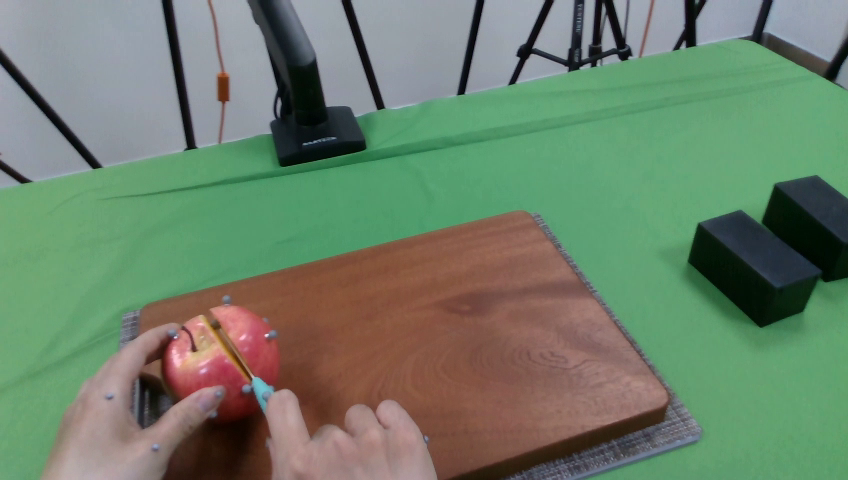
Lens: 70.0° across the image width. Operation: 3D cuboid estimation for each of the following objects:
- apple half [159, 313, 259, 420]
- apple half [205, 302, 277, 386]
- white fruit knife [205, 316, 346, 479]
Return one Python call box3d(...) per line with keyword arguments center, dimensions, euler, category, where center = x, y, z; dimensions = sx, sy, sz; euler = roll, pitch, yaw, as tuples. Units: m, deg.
box3d(center=(-0.166, 0.103, 0.457), dimensions=(0.053, 0.075, 0.080), euler=(-39, 52, -17), category="apple half")
box3d(center=(-0.134, 0.080, 0.473), dimensions=(0.033, 0.082, 0.080), euler=(-33, 47, -22), category="apple half")
box3d(center=(-0.116, 0.108, 0.433), dimensions=(0.016, 0.028, 0.205), euler=(-31, 43, -27), category="white fruit knife")
